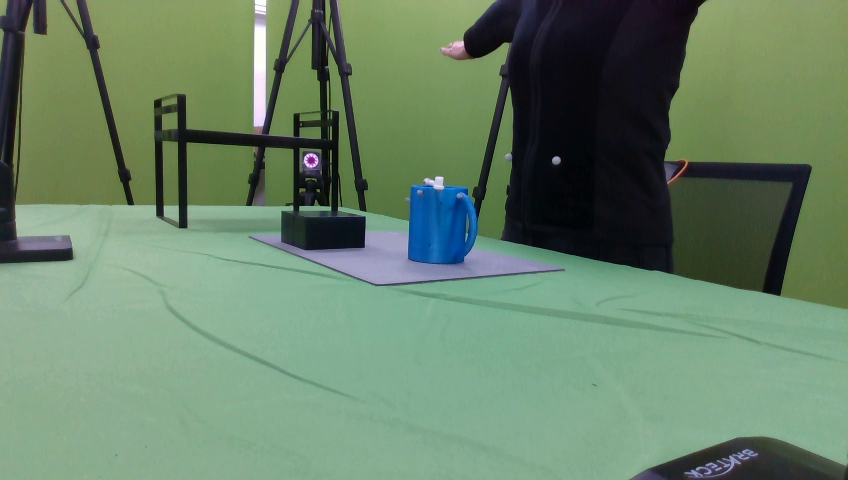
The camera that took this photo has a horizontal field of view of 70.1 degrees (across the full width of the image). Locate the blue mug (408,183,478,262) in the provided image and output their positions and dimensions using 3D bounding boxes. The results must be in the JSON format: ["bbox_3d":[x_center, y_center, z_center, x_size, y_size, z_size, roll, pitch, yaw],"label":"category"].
[{"bbox_3d":[0.030,-0.024,0.843,0.083,0.106,0.116,-4,10,-43],"label":"blue mug"}]

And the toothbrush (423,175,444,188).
[{"bbox_3d":[0.012,-0.085,0.853,0.014,0.016,0.181,-3,8,-4],"label":"toothbrush"}]
